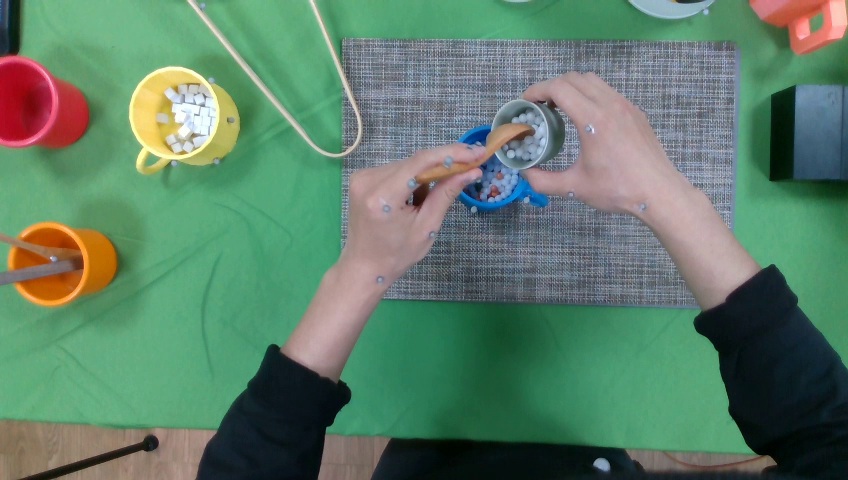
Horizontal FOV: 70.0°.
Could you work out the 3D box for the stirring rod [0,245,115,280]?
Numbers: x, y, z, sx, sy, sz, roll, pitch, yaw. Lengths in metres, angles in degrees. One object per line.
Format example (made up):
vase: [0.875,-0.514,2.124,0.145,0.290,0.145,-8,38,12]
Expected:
stirring rod: [-0.432,0.030,0.659,0.177,0.006,0.014,-15,88,-39]

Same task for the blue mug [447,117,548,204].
blue mug: [0.080,-0.074,0.651,0.116,0.106,0.082,29,93,0]

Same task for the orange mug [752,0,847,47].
orange mug: [0.409,-0.274,0.638,0.083,0.101,0.126,-8,88,3]

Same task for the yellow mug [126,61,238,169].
yellow mug: [-0.279,-0.131,0.682,0.100,0.064,0.131,40,94,-1]

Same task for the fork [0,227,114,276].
fork: [-0.440,-0.005,0.651,0.209,0.018,0.028,30,88,-43]

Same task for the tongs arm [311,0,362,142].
tongs arm: [-0.146,-0.294,0.668,0.028,0.027,0.388,-24,99,-5]

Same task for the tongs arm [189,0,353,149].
tongs arm: [-0.217,-0.249,0.669,0.051,0.026,0.386,-37,98,0]

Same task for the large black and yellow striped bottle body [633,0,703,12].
large black and yellow striped bottle body: [0.272,-0.319,0.598,0.131,0.184,0.131,0,92,2]

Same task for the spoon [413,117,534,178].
spoon: [0.043,-0.073,0.475,0.041,0.193,0.022,-9,107,31]

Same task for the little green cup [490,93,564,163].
little green cup: [0.095,-0.102,0.547,0.061,0.039,0.062,16,113,41]
